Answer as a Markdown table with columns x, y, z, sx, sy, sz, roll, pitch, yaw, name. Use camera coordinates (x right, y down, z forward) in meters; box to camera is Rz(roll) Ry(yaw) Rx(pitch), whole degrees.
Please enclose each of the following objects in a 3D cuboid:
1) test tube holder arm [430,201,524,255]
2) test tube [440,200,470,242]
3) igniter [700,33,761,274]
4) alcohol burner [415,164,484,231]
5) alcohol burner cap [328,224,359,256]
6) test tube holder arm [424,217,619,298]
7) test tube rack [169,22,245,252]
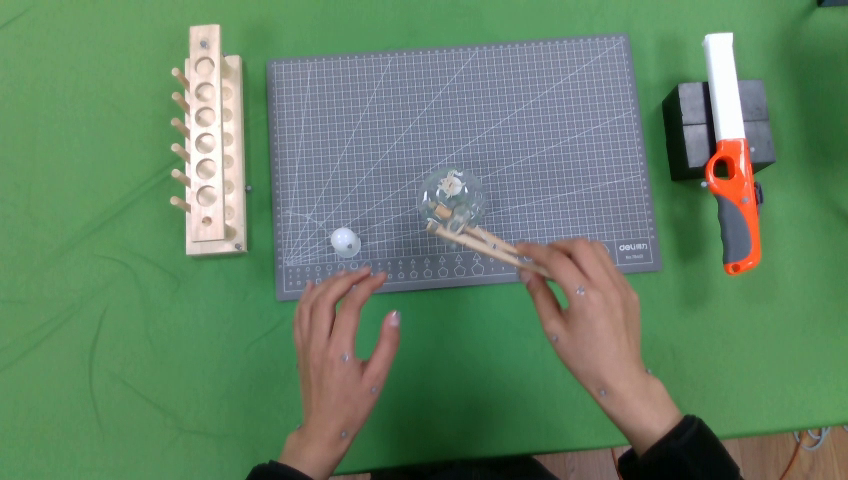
| x | y | z | sx | sy | sz | roll | pitch | yaw | name |
| --- | --- | --- | --- | --- | --- | --- | --- | --- | --- |
| 0.046 | -0.007 | 0.523 | 0.088 | 0.015 | 0.010 | 31 | 78 | -2 | test tube holder arm |
| 0.024 | -0.013 | 0.515 | 0.017 | 0.150 | 0.017 | 0 | 84 | -2 | test tube |
| 0.337 | -0.099 | 0.674 | 0.057 | 0.025 | 0.275 | -2 | 80 | 5 | igniter |
| 0.028 | -0.050 | 0.664 | 0.078 | 0.119 | 0.077 | 0 | 81 | 1 | alcohol burner |
| -0.094 | -0.002 | 0.691 | 0.034 | 0.048 | 0.033 | 0 | 79 | 1 | alcohol burner cap |
| 0.085 | 0.017 | 0.524 | 0.178 | 0.015 | 0.013 | 22 | 79 | -3 | test tube holder arm |
| -0.251 | -0.114 | 0.689 | 0.067 | 0.085 | 0.241 | -4 | 80 | 0 | test tube rack |
